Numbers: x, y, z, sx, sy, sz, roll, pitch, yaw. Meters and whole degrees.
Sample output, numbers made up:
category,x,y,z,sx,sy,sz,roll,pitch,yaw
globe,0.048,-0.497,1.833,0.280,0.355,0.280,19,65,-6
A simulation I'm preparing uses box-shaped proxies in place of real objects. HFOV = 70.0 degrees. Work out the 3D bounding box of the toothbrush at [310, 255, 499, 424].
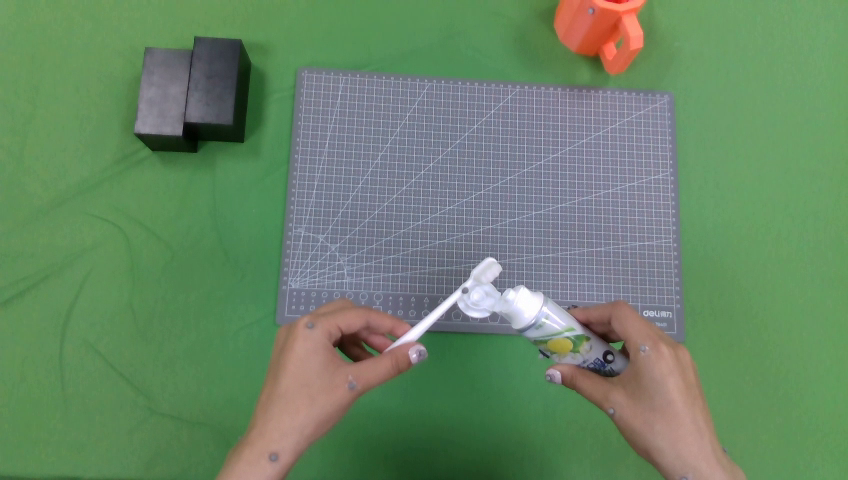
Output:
category,x,y,z,sx,sy,sz,roll,pitch,yaw
toothbrush,-0.013,0.074,0.452,0.182,0.016,0.015,-41,120,-7

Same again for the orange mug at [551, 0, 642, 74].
category,x,y,z,sx,sy,sz,roll,pitch,yaw
orange mug,0.208,-0.262,0.700,0.083,0.101,0.125,-18,76,-7

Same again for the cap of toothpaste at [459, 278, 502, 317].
category,x,y,z,sx,sy,sz,roll,pitch,yaw
cap of toothpaste,0.045,0.043,0.477,0.037,0.011,0.037,0,61,0

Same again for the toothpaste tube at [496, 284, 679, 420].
category,x,y,z,sx,sy,sz,roll,pitch,yaw
toothpaste tube,0.122,0.089,0.476,0.166,0.055,0.034,37,41,-12
